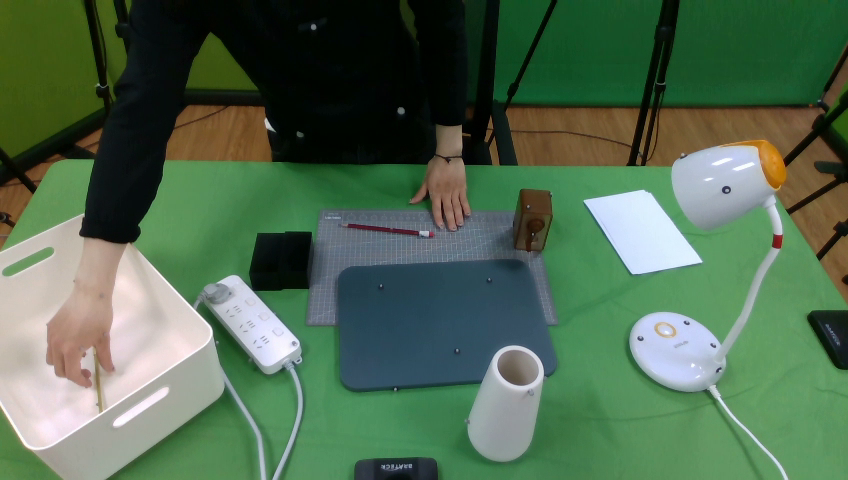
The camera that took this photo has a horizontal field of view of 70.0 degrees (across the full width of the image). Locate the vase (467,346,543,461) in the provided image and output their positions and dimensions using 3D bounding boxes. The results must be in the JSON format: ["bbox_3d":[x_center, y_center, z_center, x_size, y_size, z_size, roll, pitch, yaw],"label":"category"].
[{"bbox_3d":[0.116,0.235,0.861,0.098,0.201,0.097,1,47,-1],"label":"vase"}]

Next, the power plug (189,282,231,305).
[{"bbox_3d":[-0.368,0.097,1.039,0.072,0.053,0.035,-25,55,-20],"label":"power plug"}]

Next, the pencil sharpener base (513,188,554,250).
[{"bbox_3d":[0.213,-0.038,1.187,0.061,0.107,0.076,5,47,1],"label":"pencil sharpener base"}]

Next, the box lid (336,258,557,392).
[{"bbox_3d":[0.030,0.140,1.073,0.372,0.015,0.261,-3,47,-7],"label":"box lid"}]

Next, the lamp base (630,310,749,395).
[{"bbox_3d":[0.447,0.142,0.984,0.161,0.181,0.178,-24,55,-24],"label":"lamp base"}]

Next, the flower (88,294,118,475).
[{"bbox_3d":[-0.516,0.208,0.957,0.044,0.038,0.359,-5,41,-29],"label":"flower"}]

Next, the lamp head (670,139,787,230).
[{"bbox_3d":[0.415,-0.079,0.812,0.113,0.123,0.112,12,70,-37],"label":"lamp head"}]

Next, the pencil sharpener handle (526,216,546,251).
[{"bbox_3d":[0.208,-0.010,1.143,0.036,0.068,0.030,9,47,-4],"label":"pencil sharpener handle"}]

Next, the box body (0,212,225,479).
[{"bbox_3d":[-0.504,0.154,0.916,0.362,0.161,0.254,36,54,27],"label":"box body"}]

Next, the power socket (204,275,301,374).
[{"bbox_3d":[-0.296,0.140,1.035,0.072,0.033,0.225,-33,57,-29],"label":"power socket"}]

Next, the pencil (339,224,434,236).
[{"bbox_3d":[-0.077,-0.021,1.219,0.194,0.012,0.012,5,46,3],"label":"pencil"}]
